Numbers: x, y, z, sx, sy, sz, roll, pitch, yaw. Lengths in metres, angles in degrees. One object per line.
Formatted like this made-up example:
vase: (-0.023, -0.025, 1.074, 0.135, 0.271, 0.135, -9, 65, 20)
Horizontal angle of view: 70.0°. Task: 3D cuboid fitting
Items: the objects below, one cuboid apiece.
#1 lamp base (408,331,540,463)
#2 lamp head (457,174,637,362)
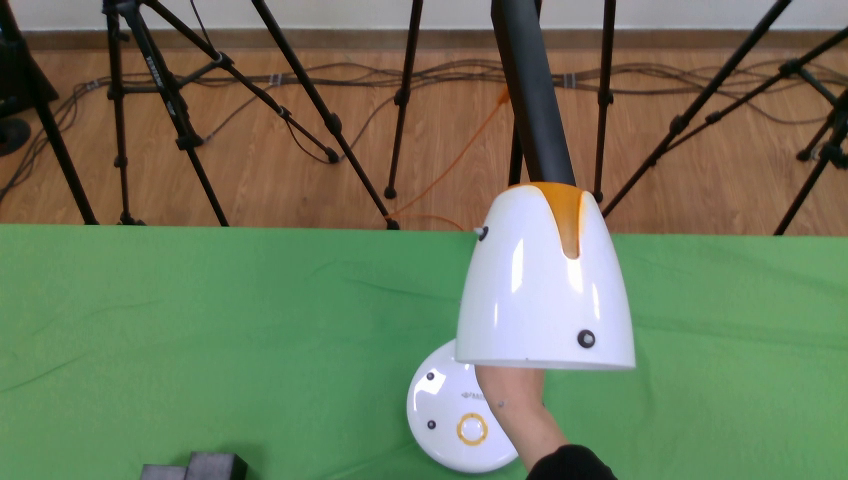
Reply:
lamp base: (0.056, 0.139, 0.682, 0.161, 0.182, 0.177, -4, 55, 0)
lamp head: (0.077, 0.021, 0.396, 0.112, 0.113, 0.122, 0, 72, 2)
